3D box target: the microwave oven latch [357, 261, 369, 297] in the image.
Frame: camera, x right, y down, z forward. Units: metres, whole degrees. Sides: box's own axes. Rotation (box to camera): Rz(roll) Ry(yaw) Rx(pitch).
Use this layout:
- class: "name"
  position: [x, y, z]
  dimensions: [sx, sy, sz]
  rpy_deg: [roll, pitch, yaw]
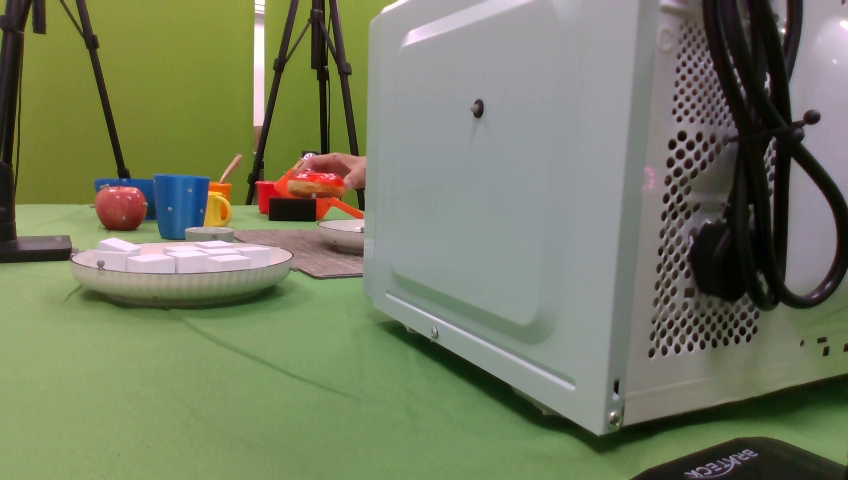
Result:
- class: "microwave oven latch"
  position: [-0.019, 0.033, 0.531]
  dimensions: [0.079, 0.029, 0.030]
  rpy_deg: [-1, 7, -27]

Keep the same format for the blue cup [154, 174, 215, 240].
- class: "blue cup"
  position: [-0.391, -0.053, 0.978]
  dimensions: [0.093, 0.100, 0.092]
  rpy_deg: [4, 6, 0]

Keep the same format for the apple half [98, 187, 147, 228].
- class: "apple half"
  position: [-0.534, -0.059, 1.071]
  dimensions: [0.082, 0.081, 0.032]
  rpy_deg: [-1, 12, -25]

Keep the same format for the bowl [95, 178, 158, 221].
- class: "bowl"
  position: [-0.576, -0.081, 1.217]
  dimensions: [0.151, 0.077, 0.151]
  rpy_deg: [3, 8, 0]

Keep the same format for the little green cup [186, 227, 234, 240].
- class: "little green cup"
  position: [-0.284, 0.005, 0.805]
  dimensions: [0.061, 0.038, 0.061]
  rpy_deg: [2, 8, 0]

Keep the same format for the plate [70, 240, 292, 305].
- class: "plate"
  position: [-0.242, 0.031, 0.618]
  dimensions: [0.208, 0.039, 0.207]
  rpy_deg: [2, 8, 0]

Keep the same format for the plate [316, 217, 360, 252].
- class: "plate"
  position: [-0.064, -0.007, 0.943]
  dimensions: [0.209, 0.038, 0.209]
  rpy_deg: [3, 8, 0]

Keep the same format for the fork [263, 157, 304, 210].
- class: "fork"
  position: [-0.345, -0.143, 1.505]
  dimensions: [0.028, 0.019, 0.207]
  rpy_deg: [-4, 46, 28]

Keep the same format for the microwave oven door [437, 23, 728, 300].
- class: "microwave oven door"
  position: [0.181, -0.072, 0.621]
  dimensions: [0.358, 0.243, 0.039]
  rpy_deg: [-2, 8, -29]

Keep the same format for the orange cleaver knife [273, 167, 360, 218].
- class: "orange cleaver knife"
  position: [-0.238, -0.091, 1.381]
  dimensions: [0.212, 0.077, 0.012]
  rpy_deg: [31, 0, -19]

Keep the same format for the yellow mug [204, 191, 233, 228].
- class: "yellow mug"
  position: [-0.415, -0.057, 1.132]
  dimensions: [0.130, 0.064, 0.100]
  rpy_deg: [6, 8, 16]

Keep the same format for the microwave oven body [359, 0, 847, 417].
- class: "microwave oven body"
  position: [0.211, -0.047, 0.474]
  dimensions: [0.444, 0.260, 0.324]
  rpy_deg: [-1, 7, -28]

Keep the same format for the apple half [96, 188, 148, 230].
- class: "apple half"
  position: [-0.517, -0.052, 1.036]
  dimensions: [0.081, 0.074, 0.053]
  rpy_deg: [2, 10, -26]

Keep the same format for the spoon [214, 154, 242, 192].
- class: "spoon"
  position: [-0.439, -0.124, 1.317]
  dimensions: [0.041, 0.193, 0.022]
  rpy_deg: [5, -36, 16]

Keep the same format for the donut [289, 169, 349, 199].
- class: "donut"
  position: [-0.171, -0.092, 0.983]
  dimensions: [0.099, 0.048, 0.099]
  rpy_deg: [1, 3, 0]
